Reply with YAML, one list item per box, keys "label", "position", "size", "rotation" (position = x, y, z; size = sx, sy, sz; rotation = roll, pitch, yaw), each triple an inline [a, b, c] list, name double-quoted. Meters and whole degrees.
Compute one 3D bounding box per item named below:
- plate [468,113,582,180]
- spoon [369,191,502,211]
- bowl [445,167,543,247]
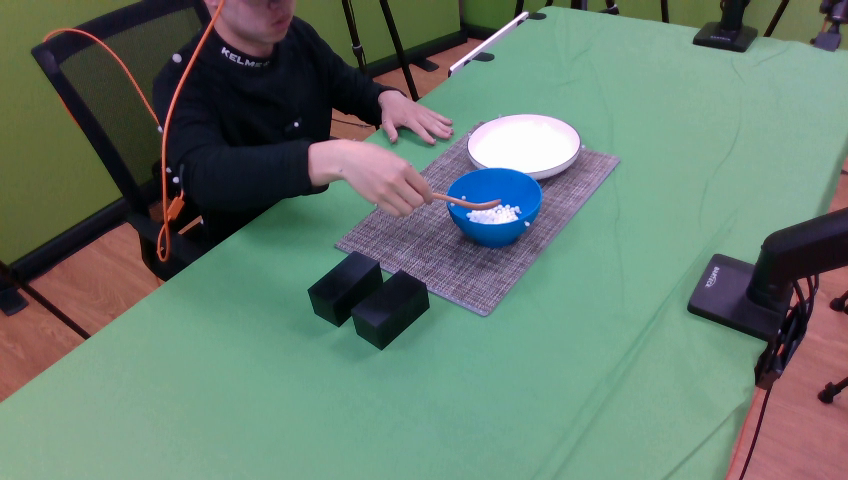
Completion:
- label: "plate"
  position: [0.186, -0.169, 1.122]
  size: [0.207, 0.039, 0.206]
  rotation: [-4, 40, 4]
- label: "spoon"
  position: [0.017, -0.060, 0.875]
  size: [0.194, 0.021, 0.041]
  rotation: [7, 8, -8]
- label: "bowl"
  position: [0.111, -0.041, 0.952]
  size: [0.151, 0.077, 0.150]
  rotation: [-4, 41, 4]
